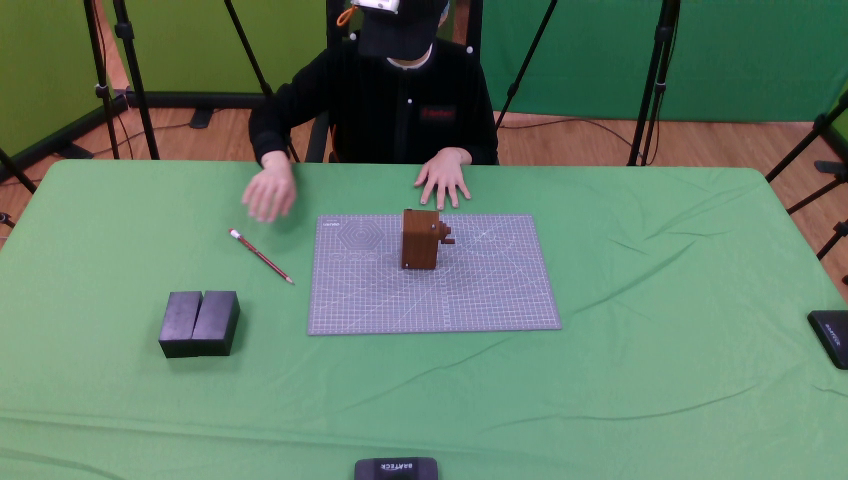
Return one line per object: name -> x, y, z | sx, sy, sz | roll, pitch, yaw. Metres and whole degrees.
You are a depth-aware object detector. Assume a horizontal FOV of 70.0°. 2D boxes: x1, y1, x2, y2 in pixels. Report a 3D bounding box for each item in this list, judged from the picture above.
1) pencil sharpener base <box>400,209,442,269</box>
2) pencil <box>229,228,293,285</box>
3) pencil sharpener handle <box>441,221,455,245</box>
pencil sharpener base -> -0.006, 0.000, 1.134 | 0.077, 0.107, 0.061 | 2, 46, -2
pencil -> -0.311, 0.031, 1.155 | 0.193, 0.012, 0.012 | 36, 54, 26
pencil sharpener handle -> 0.046, -0.011, 1.130 | 0.030, 0.068, 0.036 | 2, 62, -2
